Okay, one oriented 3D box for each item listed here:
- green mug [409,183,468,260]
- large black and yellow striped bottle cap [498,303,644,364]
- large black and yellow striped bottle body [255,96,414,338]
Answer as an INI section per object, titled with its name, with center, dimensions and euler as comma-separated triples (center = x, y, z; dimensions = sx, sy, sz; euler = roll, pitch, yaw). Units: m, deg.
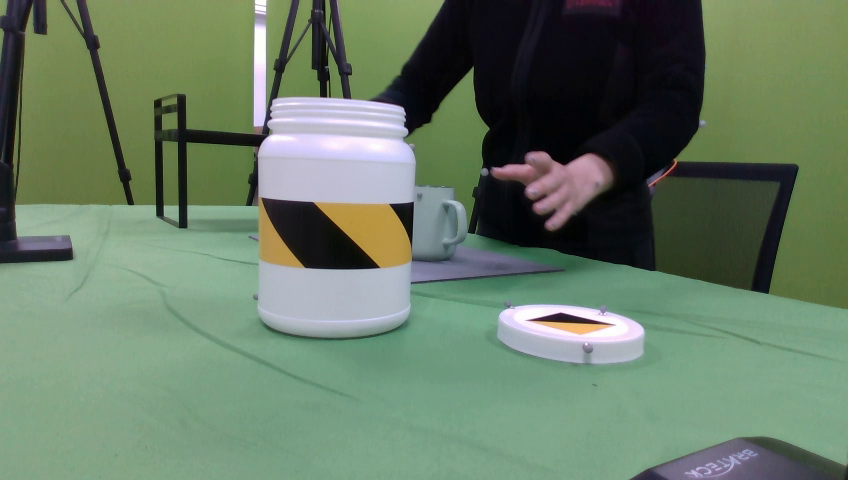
[green mug]
center = 0.015, -0.026, 0.858
dimensions = 0.093, 0.105, 0.124
euler = -4, 9, -42
[large black and yellow striped bottle cap]
center = 0.117, 0.072, 0.486
dimensions = 0.115, 0.019, 0.115
euler = 1, 8, 0
[large black and yellow striped bottle body]
center = -0.075, -0.022, 0.508
dimensions = 0.131, 0.184, 0.130
euler = 2, 7, 0
